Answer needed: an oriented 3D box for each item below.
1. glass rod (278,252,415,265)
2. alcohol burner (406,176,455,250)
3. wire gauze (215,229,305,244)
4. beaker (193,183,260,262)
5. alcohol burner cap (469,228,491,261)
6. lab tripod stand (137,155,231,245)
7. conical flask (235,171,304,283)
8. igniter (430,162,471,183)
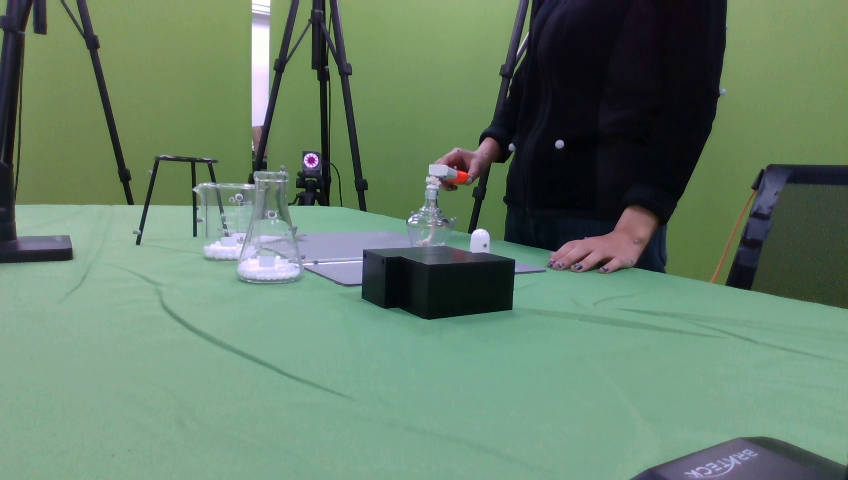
[{"bbox_3d":[-0.097,0.024,0.805,0.201,0.008,0.008,-3,8,-33],"label":"glass rod"},{"bbox_3d":[0.012,-0.044,0.963,0.078,0.119,0.078,4,6,0],"label":"alcohol burner"},{"bbox_3d":[-0.273,-0.009,1.012,0.122,0.011,0.124,-2,9,-33],"label":"wire gauze"},{"bbox_3d":[-0.262,-0.025,0.806,0.084,0.100,0.073,-3,9,-30],"label":"beaker"},{"bbox_3d":[0.082,0.006,0.878,0.034,0.048,0.034,3,7,0],"label":"alcohol burner cap"},{"bbox_3d":[-0.358,-0.061,0.927,0.148,0.131,0.148,4,6,0],"label":"lab tripod stand"},{"bbox_3d":[-0.172,-0.016,0.677,0.075,0.122,0.075,2,7,0],"label":"conical flask"},{"bbox_3d":[0.051,-0.122,1.102,0.057,0.025,0.277,4,3,11],"label":"igniter"}]
